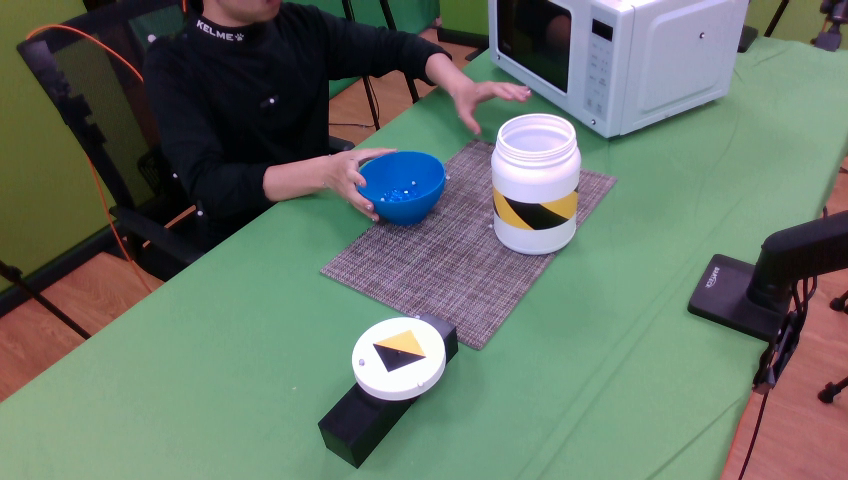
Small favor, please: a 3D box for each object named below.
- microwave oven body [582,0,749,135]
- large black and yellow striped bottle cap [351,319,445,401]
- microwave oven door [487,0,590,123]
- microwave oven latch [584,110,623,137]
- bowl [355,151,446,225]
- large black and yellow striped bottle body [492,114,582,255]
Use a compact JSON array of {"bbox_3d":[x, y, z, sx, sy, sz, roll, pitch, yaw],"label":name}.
[{"bbox_3d":[0.382,-0.444,1.246,0.327,0.261,0.437,-22,42,-16],"label":"microwave oven body"},{"bbox_3d":[-0.031,0.143,0.734,0.115,0.019,0.114,-3,40,3],"label":"large black and yellow striped bottle cap"},{"bbox_3d":[0.232,-0.420,1.230,0.039,0.245,0.352,-22,43,-16],"label":"microwave oven door"},{"bbox_3d":[0.337,-0.222,1.142,0.030,0.029,0.078,-21,42,-14],"label":"microwave oven latch"},{"bbox_3d":[-0.035,-0.078,1.017,0.151,0.077,0.150,-4,40,4],"label":"bowl"},{"bbox_3d":[0.169,-0.083,0.912,0.131,0.185,0.130,-4,41,4],"label":"large black and yellow striped bottle body"}]
